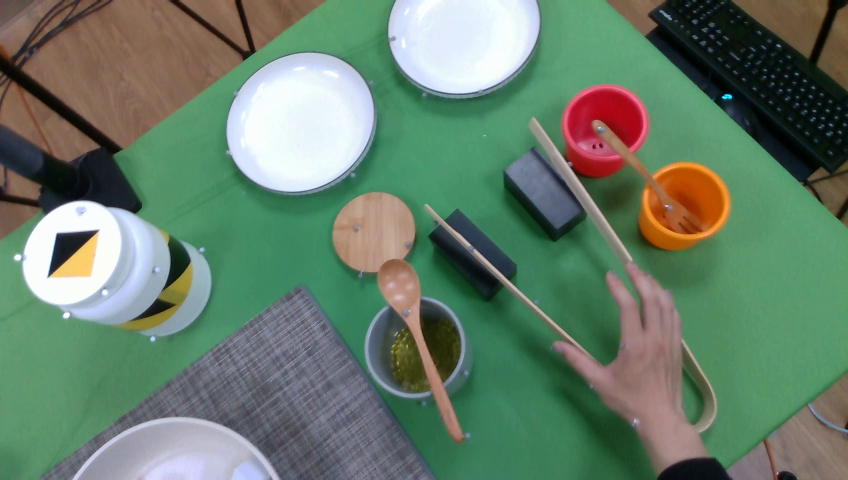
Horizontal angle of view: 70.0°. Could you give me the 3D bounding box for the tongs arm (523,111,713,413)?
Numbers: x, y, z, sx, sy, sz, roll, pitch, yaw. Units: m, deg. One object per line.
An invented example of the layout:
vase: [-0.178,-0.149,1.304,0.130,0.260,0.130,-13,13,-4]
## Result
tongs arm: [0.216,0.018,0.685,0.028,0.028,0.386,-30,84,-10]

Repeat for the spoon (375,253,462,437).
spoon: [-0.004,0.104,0.607,0.041,0.022,0.192,-21,77,-1]

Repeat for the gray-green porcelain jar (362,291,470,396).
gray-green porcelain jar: [-0.003,0.120,0.676,0.106,0.127,0.105,-2,74,8]

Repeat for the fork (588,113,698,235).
fork: [0.247,-0.072,0.678,0.209,0.018,0.028,39,92,-28]

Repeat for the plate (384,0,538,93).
plate: [0.050,-0.291,0.824,0.209,0.038,0.208,-2,75,8]

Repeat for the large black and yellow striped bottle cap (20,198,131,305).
large black and yellow striped bottle cap: [-0.369,0.011,0.641,0.115,0.019,0.114,-2,76,7]

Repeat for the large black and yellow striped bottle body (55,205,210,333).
large black and yellow striped bottle body: [-0.357,0.035,0.721,0.130,0.185,0.130,-2,74,8]

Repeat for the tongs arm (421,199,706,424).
tongs arm: [0.151,0.073,0.676,0.384,0.026,0.051,44,82,4]

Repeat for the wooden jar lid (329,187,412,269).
wooden jar lid: [-0.067,-0.015,0.777,0.108,0.021,0.108,-2,76,7]

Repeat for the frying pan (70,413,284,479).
frying pan: [-0.282,0.439,0.639,0.306,0.103,0.484,2,67,10]

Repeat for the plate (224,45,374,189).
plate: [-0.167,-0.164,0.823,0.207,0.039,0.206,-2,75,8]
